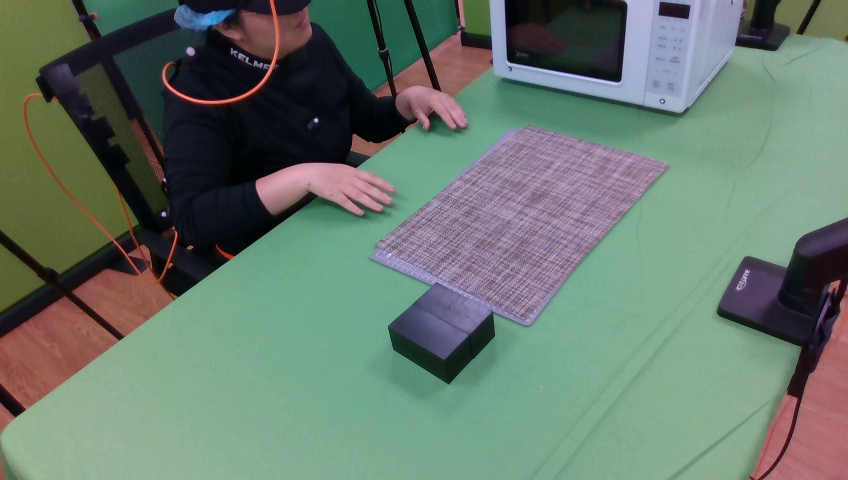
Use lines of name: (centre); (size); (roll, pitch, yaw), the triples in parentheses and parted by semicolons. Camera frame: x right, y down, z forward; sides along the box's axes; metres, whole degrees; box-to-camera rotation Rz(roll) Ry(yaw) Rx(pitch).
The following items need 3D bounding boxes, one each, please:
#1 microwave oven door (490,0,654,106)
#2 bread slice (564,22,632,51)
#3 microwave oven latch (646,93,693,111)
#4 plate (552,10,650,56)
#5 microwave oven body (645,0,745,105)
microwave oven door: (0.292, -0.420, 1.228); (0.353, 0.245, 0.039); (22, 49, 32)
bread slice: (0.394, -0.453, 1.344); (0.105, 0.019, 0.130); (-36, 42, -26)
microwave oven latch: (0.477, -0.273, 1.177); (0.078, 0.029, 0.030); (22, 50, 33)
plate: (0.391, -0.454, 1.339); (0.209, 0.038, 0.208); (-5, 39, 5)
microwave oven body: (0.416, -0.486, 1.290); (0.438, 0.261, 0.327); (21, 50, 33)
